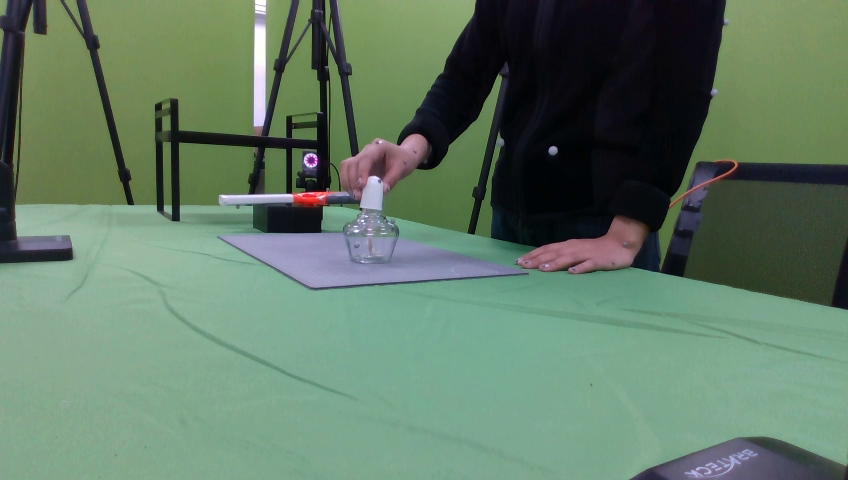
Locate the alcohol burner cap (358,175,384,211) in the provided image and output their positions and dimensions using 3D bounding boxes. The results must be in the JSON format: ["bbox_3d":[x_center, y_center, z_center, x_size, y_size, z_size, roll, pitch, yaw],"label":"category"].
[{"bbox_3d":[-0.069,-0.064,0.817,0.034,0.048,0.034,13,5,-1],"label":"alcohol burner cap"}]

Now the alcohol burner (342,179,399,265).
[{"bbox_3d":[-0.073,-0.027,0.818,0.078,0.119,0.078,1,6,0],"label":"alcohol burner"}]

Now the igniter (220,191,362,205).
[{"bbox_3d":[-0.243,-0.079,1.152,0.278,0.025,0.057,-3,12,-26],"label":"igniter"}]
